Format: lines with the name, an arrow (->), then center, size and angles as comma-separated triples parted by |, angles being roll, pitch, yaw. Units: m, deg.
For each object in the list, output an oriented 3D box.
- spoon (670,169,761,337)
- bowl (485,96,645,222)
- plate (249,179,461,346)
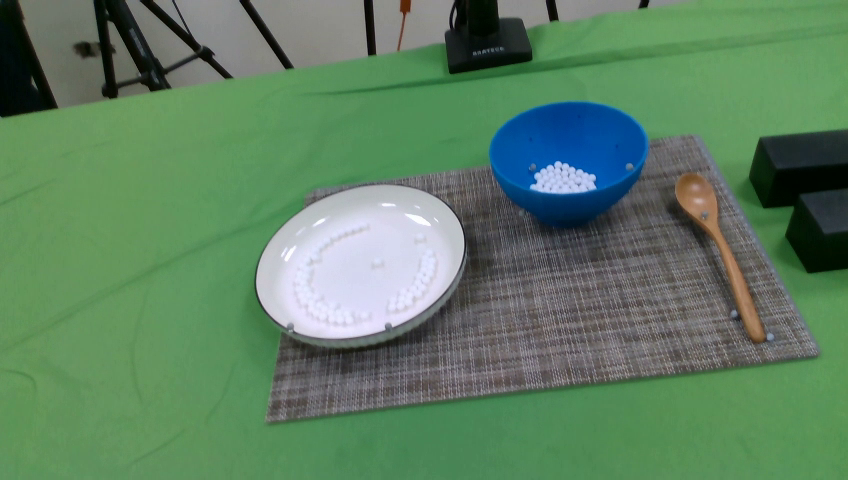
spoon -> 0.264, 0.004, 0.547 | 0.042, 0.022, 0.192 | 6, 45, -6
bowl -> 0.140, -0.071, 0.610 | 0.151, 0.077, 0.150 | -6, 45, 7
plate -> -0.065, 0.022, 0.596 | 0.207, 0.039, 0.205 | -6, 45, 7
